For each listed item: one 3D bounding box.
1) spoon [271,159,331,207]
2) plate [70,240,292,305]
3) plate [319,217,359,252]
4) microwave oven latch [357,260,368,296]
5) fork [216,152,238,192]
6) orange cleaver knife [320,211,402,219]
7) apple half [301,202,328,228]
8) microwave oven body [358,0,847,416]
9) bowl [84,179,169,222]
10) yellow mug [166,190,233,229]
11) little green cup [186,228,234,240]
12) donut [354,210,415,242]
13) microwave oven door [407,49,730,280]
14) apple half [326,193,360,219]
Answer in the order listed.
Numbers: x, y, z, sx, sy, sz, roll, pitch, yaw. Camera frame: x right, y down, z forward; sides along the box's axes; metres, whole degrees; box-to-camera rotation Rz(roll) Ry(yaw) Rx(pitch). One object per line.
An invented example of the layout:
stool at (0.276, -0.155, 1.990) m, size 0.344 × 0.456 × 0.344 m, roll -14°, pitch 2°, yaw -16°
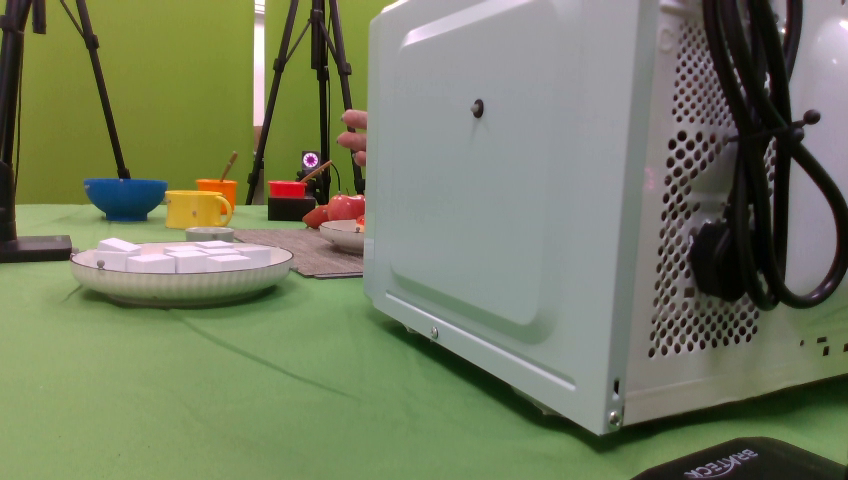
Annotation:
spoon at (-0.308, -0.142, 1.513) m, size 0.193 × 0.021 × 0.041 m, roll -41°, pitch 3°, yaw 8°
plate at (-0.241, 0.031, 0.618) m, size 0.208 × 0.039 × 0.207 m, roll 2°, pitch 8°, yaw 0°
plate at (-0.058, -0.007, 0.939) m, size 0.209 × 0.038 × 0.209 m, roll 3°, pitch 8°, yaw 0°
microwave oven latch at (-0.020, 0.033, 0.531) m, size 0.079 × 0.029 × 0.030 m, roll -1°, pitch 8°, yaw -29°
fork at (-0.455, -0.132, 1.367) m, size 0.028 × 0.018 × 0.207 m, roll -2°, pitch -35°, yaw -38°
orange cleaver knife at (-0.142, -0.057, 1.394) m, size 0.077 × 0.012 × 0.212 m, roll 3°, pitch 7°, yaw 44°
apple half at (-0.194, -0.043, 1.172) m, size 0.081 × 0.032 × 0.081 m, roll -21°, pitch -16°, yaw -6°
microwave oven body at (0.211, -0.047, 0.474) m, size 0.444 × 0.260 × 0.324 m, roll -1°, pitch 8°, yaw -28°
bowl at (-0.584, -0.078, 1.194) m, size 0.151 × 0.077 × 0.151 m, roll 3°, pitch 8°, yaw 0°
yellow mug at (-0.415, -0.057, 1.132) m, size 0.130 × 0.064 × 0.100 m, roll 6°, pitch 8°, yaw 16°
little green cup at (-0.284, 0.005, 0.805) m, size 0.061 × 0.038 × 0.061 m, roll 2°, pitch 8°, yaw 0°
donut at (-0.062, -0.020, 0.955) m, size 0.099 × 0.048 × 0.099 m, roll 4°, pitch 7°, yaw 0°
microwave oven door at (0.163, -0.081, 0.683) m, size 0.356 × 0.243 × 0.039 m, roll 1°, pitch 8°, yaw -6°
apple half at (-0.135, -0.047, 1.089) m, size 0.081 × 0.074 × 0.053 m, roll 5°, pitch 10°, yaw -12°
